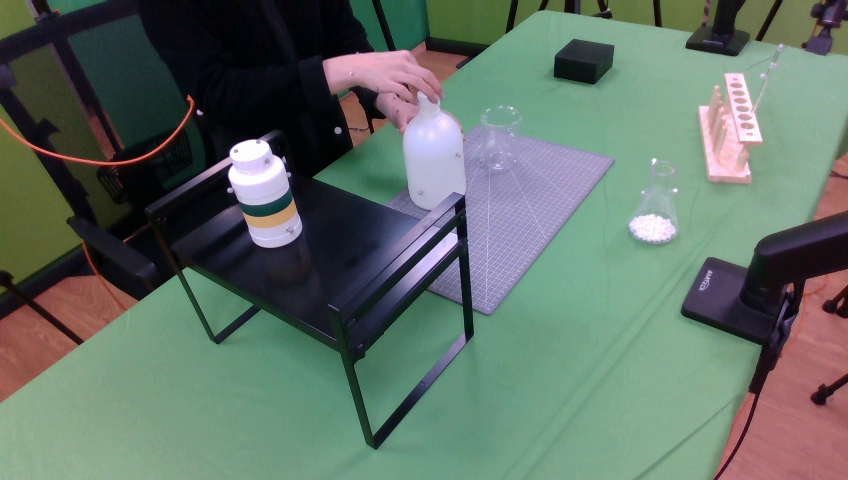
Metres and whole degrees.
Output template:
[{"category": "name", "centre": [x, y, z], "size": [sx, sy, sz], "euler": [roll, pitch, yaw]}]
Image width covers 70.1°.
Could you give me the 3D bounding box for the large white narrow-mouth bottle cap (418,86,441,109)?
[{"category": "large white narrow-mouth bottle cap", "centre": [0.008, -0.225, 0.958], "size": [0.038, 0.024, 0.037], "euler": [-4, 39, 4]}]

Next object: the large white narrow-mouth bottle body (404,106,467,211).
[{"category": "large white narrow-mouth bottle body", "centre": [0.017, -0.152, 1.016], "size": [0.102, 0.195, 0.101], "euler": [-4, 39, 4]}]

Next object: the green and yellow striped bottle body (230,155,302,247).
[{"category": "green and yellow striped bottle body", "centre": [-0.188, -0.055, 0.714], "size": [0.063, 0.120, 0.063], "euler": [-4, 41, 4]}]

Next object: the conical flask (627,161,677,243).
[{"category": "conical flask", "centre": [0.355, -0.061, 0.921], "size": [0.075, 0.122, 0.075], "euler": [-4, 41, 4]}]

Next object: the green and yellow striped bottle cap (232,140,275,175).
[{"category": "green and yellow striped bottle cap", "centre": [-0.192, -0.093, 0.680], "size": [0.045, 0.020, 0.045], "euler": [-5, 39, 5]}]

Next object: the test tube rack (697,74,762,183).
[{"category": "test tube rack", "centre": [0.547, -0.208, 1.095], "size": [0.066, 0.085, 0.242], "euler": [5, 42, 15]}]

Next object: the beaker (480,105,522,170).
[{"category": "beaker", "centre": [0.145, -0.187, 1.111], "size": [0.084, 0.101, 0.073], "euler": [-35, 48, -29]}]

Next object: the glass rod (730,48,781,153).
[{"category": "glass rod", "centre": [0.554, -0.228, 1.014], "size": [0.008, 0.200, 0.008], "euler": [1, 44, -1]}]
